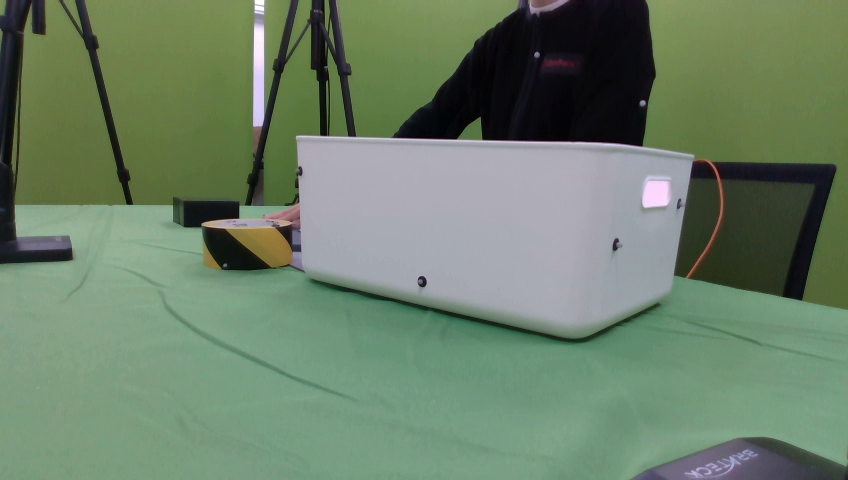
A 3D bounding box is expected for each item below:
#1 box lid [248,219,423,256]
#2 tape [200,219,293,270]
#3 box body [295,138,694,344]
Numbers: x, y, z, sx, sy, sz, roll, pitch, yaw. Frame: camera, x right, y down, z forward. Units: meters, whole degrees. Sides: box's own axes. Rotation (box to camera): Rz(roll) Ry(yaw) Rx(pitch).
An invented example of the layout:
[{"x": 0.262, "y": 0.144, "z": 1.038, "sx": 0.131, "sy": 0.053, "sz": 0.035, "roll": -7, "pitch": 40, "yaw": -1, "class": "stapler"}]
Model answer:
[{"x": -0.146, "y": -0.008, "z": 1.066, "sx": 0.264, "sy": 0.015, "sz": 0.371, "roll": 3, "pitch": 7, "yaw": -6, "class": "box lid"}, {"x": -0.228, "y": 0.004, "z": 0.778, "sx": 0.117, "sy": 0.052, "sz": 0.117, "roll": 1, "pitch": 8, "yaw": 0, "class": "tape"}, {"x": 0.065, "y": -0.020, "z": 0.653, "sx": 0.362, "sy": 0.160, "sz": 0.255, "roll": 9, "pitch": 9, "yaw": 36, "class": "box body"}]
